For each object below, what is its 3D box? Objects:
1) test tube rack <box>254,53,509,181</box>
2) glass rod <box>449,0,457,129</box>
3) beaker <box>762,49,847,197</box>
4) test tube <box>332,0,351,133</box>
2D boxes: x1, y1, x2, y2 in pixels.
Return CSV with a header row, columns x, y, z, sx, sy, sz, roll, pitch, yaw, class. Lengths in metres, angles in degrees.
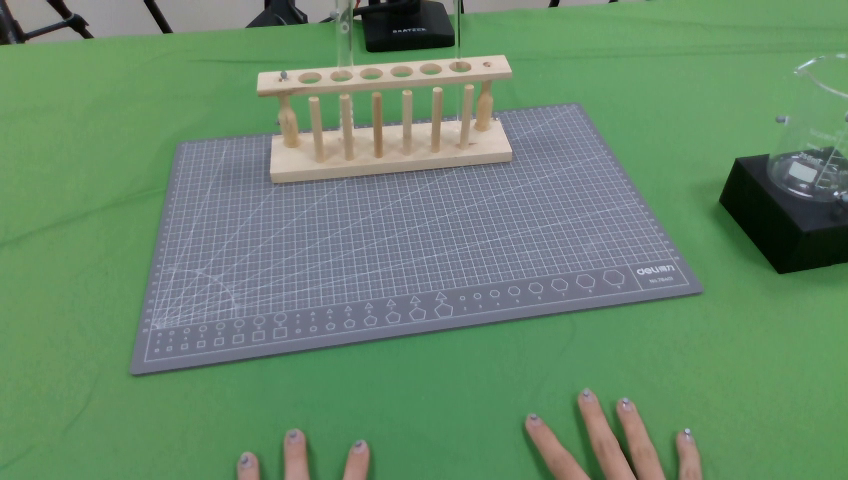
x,y,z,sx,sy,sz,roll,pitch,yaw,class
-0.038,-0.123,0.603,0.243,0.086,0.066,-6,45,-6,test tube rack
0.028,-0.199,0.585,0.008,0.201,0.008,-2,38,2,glass rod
0.325,-0.092,0.491,0.083,0.101,0.074,23,49,24,beaker
-0.078,-0.165,0.576,0.017,0.151,0.017,3,44,-3,test tube
